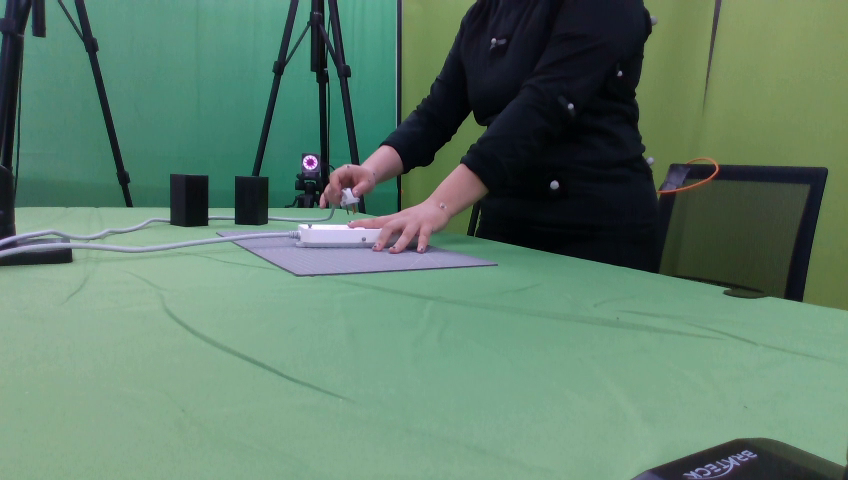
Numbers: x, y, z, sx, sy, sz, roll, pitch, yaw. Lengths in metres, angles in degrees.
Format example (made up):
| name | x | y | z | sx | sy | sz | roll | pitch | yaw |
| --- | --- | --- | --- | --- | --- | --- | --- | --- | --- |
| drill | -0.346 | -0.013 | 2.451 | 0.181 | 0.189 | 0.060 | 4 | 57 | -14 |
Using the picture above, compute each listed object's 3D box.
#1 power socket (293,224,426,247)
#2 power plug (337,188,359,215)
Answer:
| name | x | y | z | sx | sy | sz | roll | pitch | yaw |
| --- | --- | --- | --- | --- | --- | --- | --- | --- | --- |
| power socket | -0.103 | -0.008 | 1.003 | 0.228 | 0.032 | 0.072 | 0 | 7 | -22 |
| power plug | -0.140 | -0.072 | 1.131 | 0.035 | 0.052 | 0.072 | -14 | 4 | -7 |
